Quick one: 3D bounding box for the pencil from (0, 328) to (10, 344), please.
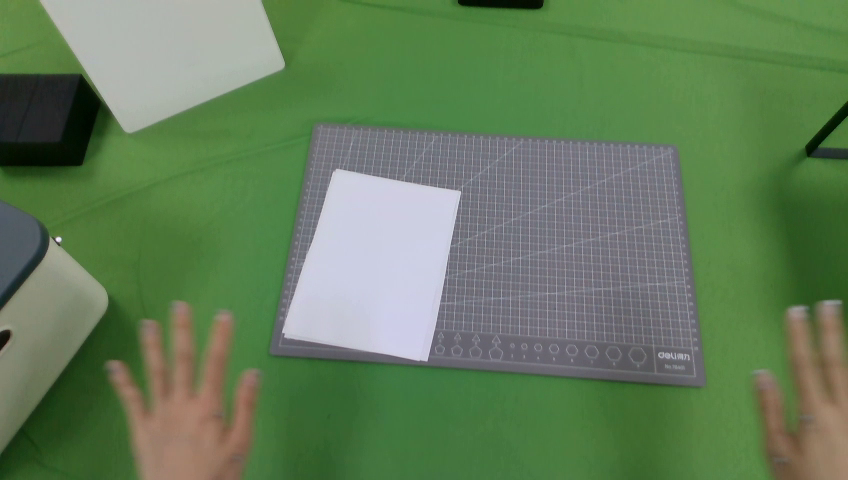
[{"bbox_3d":[-0.430,0.107,0.620,0.012,0.012,0.192,6,56,3],"label":"pencil"}]

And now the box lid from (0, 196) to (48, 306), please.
[{"bbox_3d":[-0.535,0.021,0.502,0.370,0.015,0.262,24,67,9],"label":"box lid"}]

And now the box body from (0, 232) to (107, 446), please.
[{"bbox_3d":[-0.534,0.054,0.569,0.363,0.161,0.253,23,67,10],"label":"box body"}]

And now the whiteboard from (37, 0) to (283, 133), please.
[{"bbox_3d":[-0.334,-0.323,0.703,0.217,0.308,0.142,-27,48,-12],"label":"whiteboard"}]
